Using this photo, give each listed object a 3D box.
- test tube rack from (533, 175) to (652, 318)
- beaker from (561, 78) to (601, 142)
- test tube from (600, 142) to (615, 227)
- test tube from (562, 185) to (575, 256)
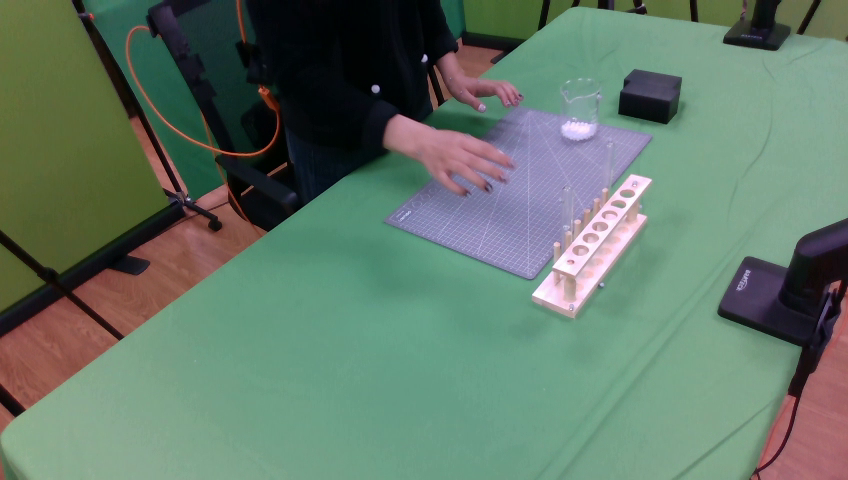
[{"bbox_3d":[0.250,-0.001,0.889,0.066,0.085,0.243,22,49,33],"label":"test tube rack"},{"bbox_3d":[0.295,-0.243,1.150,0.073,0.101,0.084,22,50,32],"label":"beaker"},{"bbox_3d":[0.275,-0.081,0.909,0.017,0.151,0.017,-5,40,5],"label":"test tube"},{"bbox_3d":[0.202,-0.015,0.845,0.017,0.151,0.017,-6,42,6],"label":"test tube"}]
